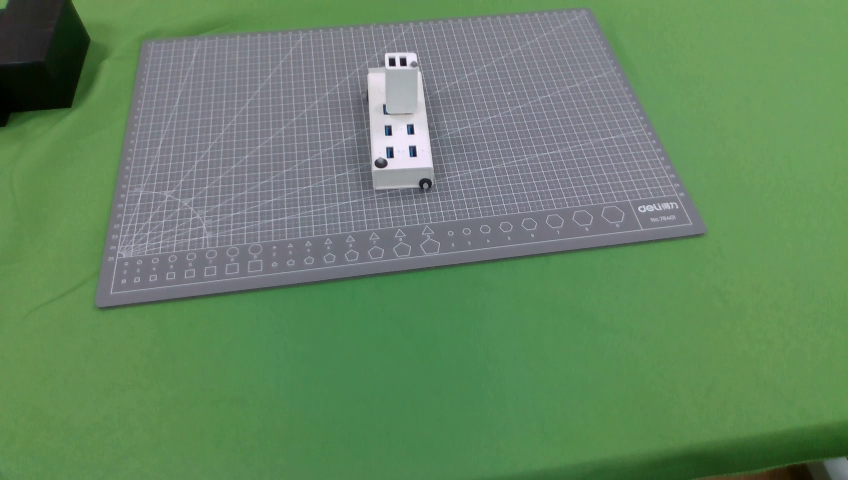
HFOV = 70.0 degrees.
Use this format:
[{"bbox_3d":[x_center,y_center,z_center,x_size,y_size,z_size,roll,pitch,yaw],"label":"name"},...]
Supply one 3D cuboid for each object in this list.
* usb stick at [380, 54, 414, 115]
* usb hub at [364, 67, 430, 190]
[{"bbox_3d":[-0.021,-0.120,0.492,0.027,0.059,0.021,-7,54,-3],"label":"usb stick"},{"bbox_3d":[-0.025,-0.097,0.511,0.049,0.025,0.124,-4,54,-4],"label":"usb hub"}]
